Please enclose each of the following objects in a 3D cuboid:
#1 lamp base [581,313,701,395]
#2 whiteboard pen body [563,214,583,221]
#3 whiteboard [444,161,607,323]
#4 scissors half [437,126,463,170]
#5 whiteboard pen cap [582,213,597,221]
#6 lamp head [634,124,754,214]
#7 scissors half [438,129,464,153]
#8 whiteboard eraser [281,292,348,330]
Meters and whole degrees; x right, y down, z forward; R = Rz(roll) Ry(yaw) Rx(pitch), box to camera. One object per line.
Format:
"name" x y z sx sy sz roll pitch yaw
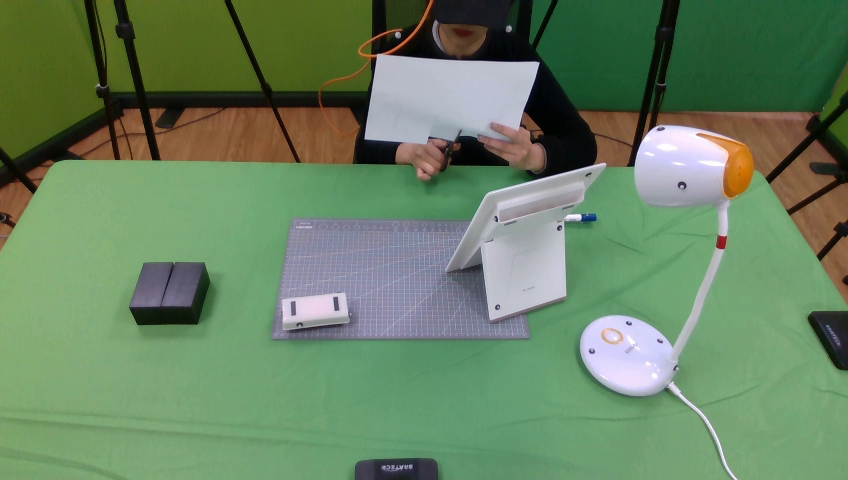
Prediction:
"lamp base" 0.361 0.144 0.973 0.178 0.181 0.160 34 53 23
"whiteboard pen body" 0.283 -0.047 1.257 0.141 0.017 0.017 -1 46 -2
"whiteboard" 0.186 0.025 1.029 0.217 0.306 0.143 -14 68 -18
"scissors half" 0.055 -0.189 1.252 0.013 0.175 0.040 4 68 -14
"whiteboard pen cap" 0.342 -0.048 1.260 0.033 0.018 0.018 -2 46 -3
"lamp head" 0.351 -0.089 0.776 0.112 0.113 0.122 -30 30 -28
"scissors half" 0.057 -0.210 1.256 0.013 0.175 0.040 9 88 -13
"whiteboard eraser" -0.189 0.124 1.045 0.113 0.042 0.055 -6 46 -10
